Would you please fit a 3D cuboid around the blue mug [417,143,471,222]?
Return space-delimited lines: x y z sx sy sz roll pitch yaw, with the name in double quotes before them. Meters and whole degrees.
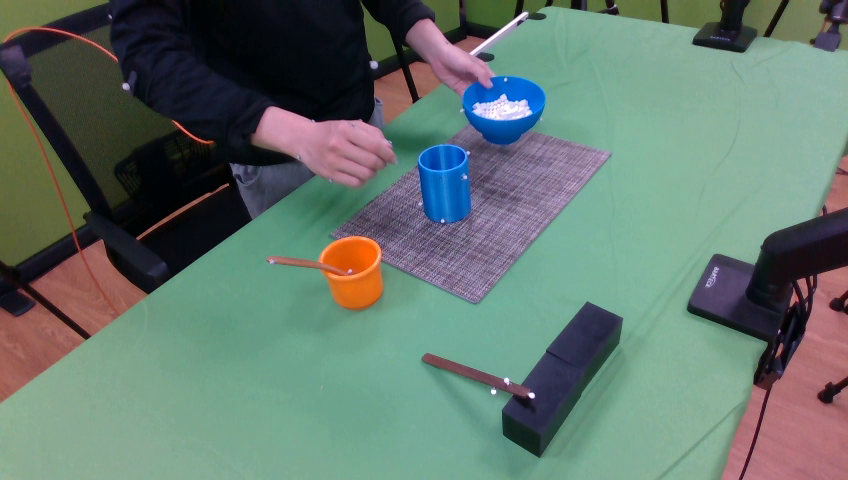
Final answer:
"blue mug" 0.031 -0.104 1.014 0.082 0.106 0.115 -14 41 -7

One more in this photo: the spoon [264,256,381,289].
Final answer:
"spoon" -0.136 0.041 0.842 0.021 0.195 0.041 -55 47 13

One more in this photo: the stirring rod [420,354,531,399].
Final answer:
"stirring rod" 0.058 0.164 0.738 0.174 0.006 0.014 8 42 46

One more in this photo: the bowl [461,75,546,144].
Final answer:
"bowl" 0.143 -0.228 1.100 0.151 0.077 0.150 -2 45 2
